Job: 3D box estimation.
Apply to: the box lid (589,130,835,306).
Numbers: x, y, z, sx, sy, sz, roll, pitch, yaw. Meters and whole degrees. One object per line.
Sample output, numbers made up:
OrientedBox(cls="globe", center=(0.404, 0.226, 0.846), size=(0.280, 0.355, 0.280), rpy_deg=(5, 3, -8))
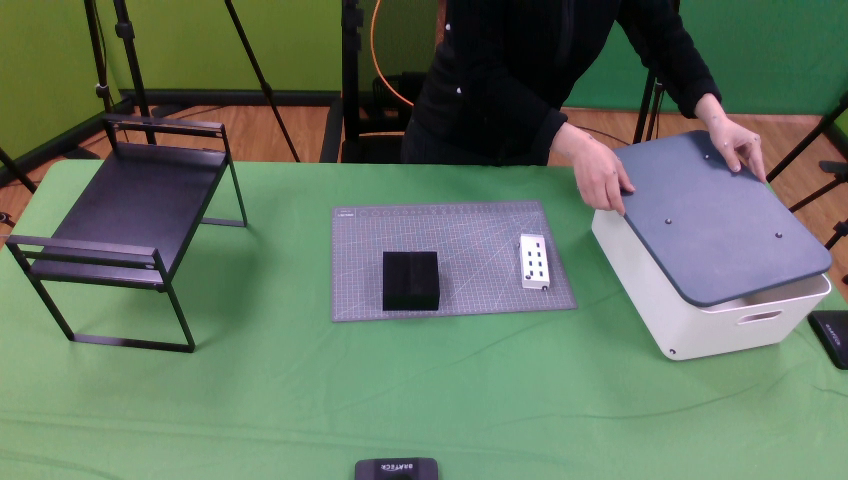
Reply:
OrientedBox(cls="box lid", center=(0.473, -0.058, 1.037), size=(0.263, 0.015, 0.369), rpy_deg=(-14, 49, -9))

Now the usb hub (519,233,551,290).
OrientedBox(cls="usb hub", center=(0.212, 0.039, 1.167), size=(0.049, 0.025, 0.124), rpy_deg=(4, 45, 0))

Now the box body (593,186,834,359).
OrientedBox(cls="box body", center=(0.497, 0.023, 1.111), size=(0.254, 0.161, 0.361), rpy_deg=(-7, 47, -10))
